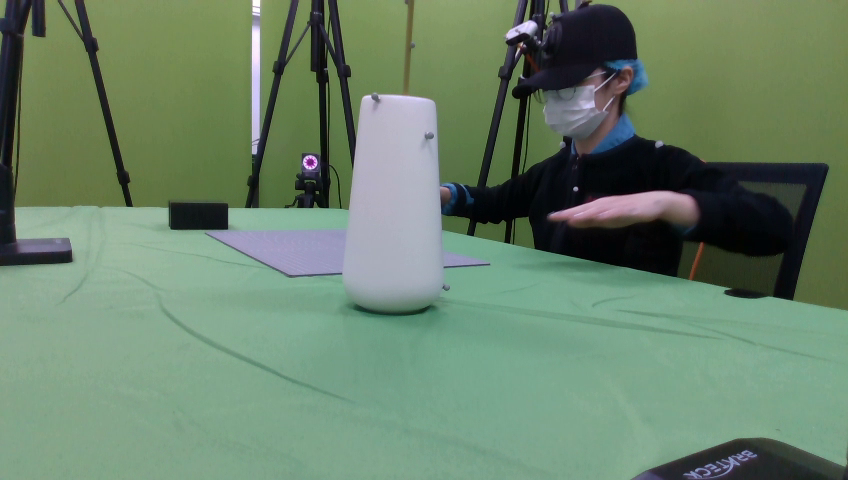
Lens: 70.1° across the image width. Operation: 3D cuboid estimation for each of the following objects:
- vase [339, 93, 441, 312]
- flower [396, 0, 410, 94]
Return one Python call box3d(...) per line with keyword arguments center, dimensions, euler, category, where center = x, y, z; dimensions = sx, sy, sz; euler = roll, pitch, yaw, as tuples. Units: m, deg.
box3d(center=(-0.032, -0.036, 0.577), dimensions=(0.098, 0.200, 0.098), euler=(1, 7, 0), category="vase")
box3d(center=(-0.023, -0.113, 0.546), dimensions=(0.044, 0.361, 0.038), euler=(7, 25, 1), category="flower")
